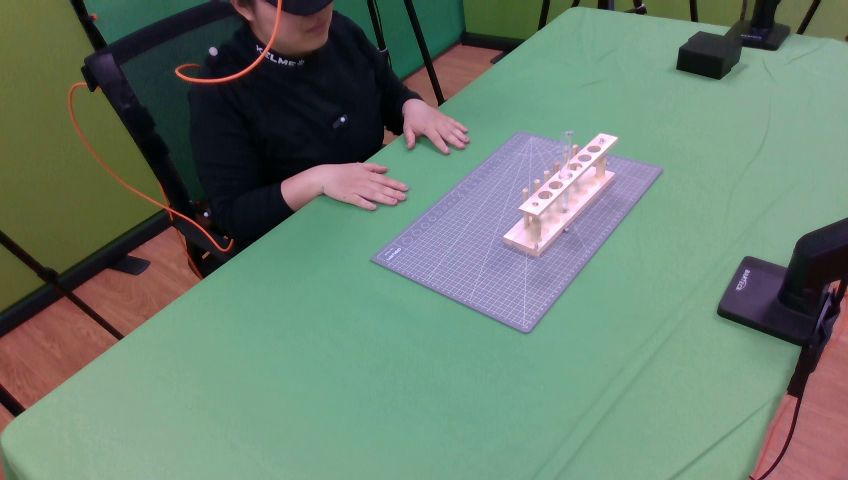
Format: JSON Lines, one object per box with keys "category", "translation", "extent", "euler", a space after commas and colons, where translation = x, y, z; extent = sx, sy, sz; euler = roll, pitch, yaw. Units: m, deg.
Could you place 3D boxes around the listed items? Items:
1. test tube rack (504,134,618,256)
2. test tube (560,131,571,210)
{"category": "test tube rack", "translation": [0.225, -0.083, 0.985], "extent": [0.066, 0.085, 0.243], "euler": [25, 50, 34]}
{"category": "test tube", "translation": [0.218, -0.103, 0.933], "extent": [0.017, 0.151, 0.017], "euler": [-6, 45, 7]}
